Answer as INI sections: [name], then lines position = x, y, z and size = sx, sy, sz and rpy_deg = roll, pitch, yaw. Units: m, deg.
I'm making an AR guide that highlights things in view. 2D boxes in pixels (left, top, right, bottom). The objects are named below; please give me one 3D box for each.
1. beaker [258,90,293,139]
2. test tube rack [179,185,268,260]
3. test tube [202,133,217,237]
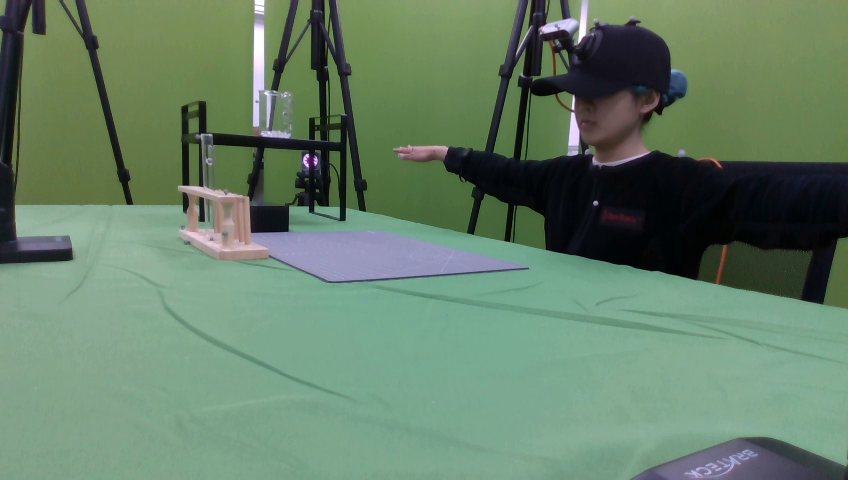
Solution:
[beaker]
position = -0.324, -0.274, 1.326
size = 0.074, 0.100, 0.083
rpy_deg = -2, 10, -33
[test tube rack]
position = -0.303, -0.031, 0.898
size = 0.067, 0.085, 0.241
rpy_deg = -2, 9, -33
[test tube]
position = -0.307, -0.078, 0.868
size = 0.017, 0.150, 0.017
rpy_deg = 1, 10, 0
